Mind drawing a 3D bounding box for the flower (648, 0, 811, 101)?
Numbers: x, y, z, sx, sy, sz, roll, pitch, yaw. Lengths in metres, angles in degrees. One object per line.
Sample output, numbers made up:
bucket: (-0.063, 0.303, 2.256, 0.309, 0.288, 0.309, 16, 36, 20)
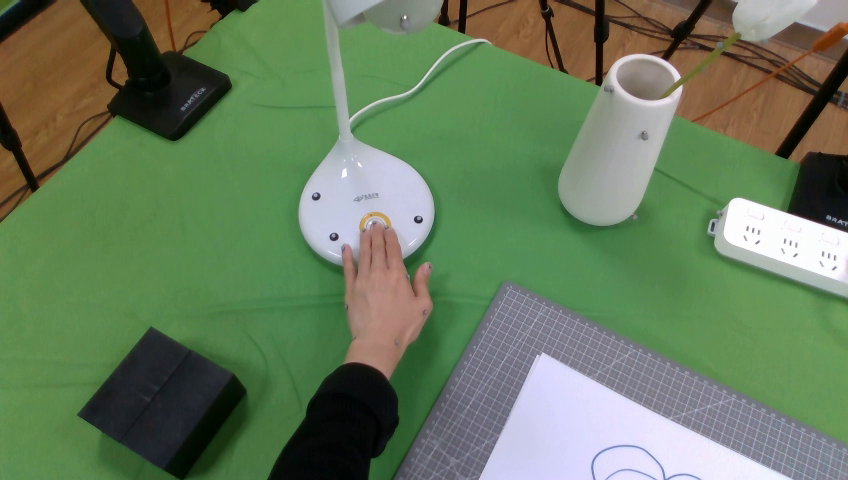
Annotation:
flower: (0.217, -0.130, 0.580, 0.044, 0.362, 0.038, -11, 77, -17)

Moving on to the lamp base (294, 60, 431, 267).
lamp base: (-0.077, -0.088, 0.654, 0.161, 0.182, 0.177, -23, 59, -15)

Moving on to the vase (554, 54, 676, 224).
vase: (0.203, -0.103, 0.658, 0.098, 0.201, 0.097, 0, 58, 0)

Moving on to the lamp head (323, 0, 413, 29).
lamp head: (-0.034, -0.213, 0.392, 0.112, 0.112, 0.123, -30, 102, -18)

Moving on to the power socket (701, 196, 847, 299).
power socket: (0.436, 0.014, 0.691, 0.226, 0.033, 0.072, 21, 62, 10)
